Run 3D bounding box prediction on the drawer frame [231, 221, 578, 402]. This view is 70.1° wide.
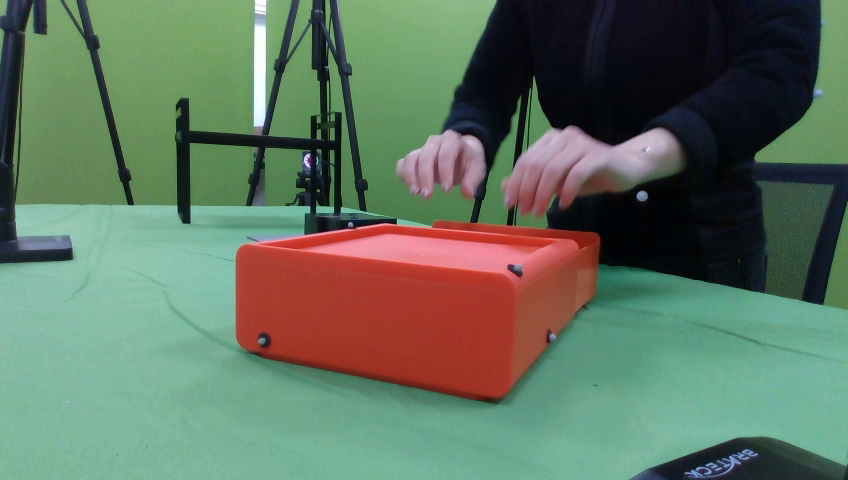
[{"bbox_3d":[0.001,0.038,0.474,0.201,0.082,0.214,6,9,22],"label":"drawer frame"}]

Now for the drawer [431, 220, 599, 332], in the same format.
[{"bbox_3d":[0.051,0.030,0.582,0.194,0.073,0.212,7,9,25],"label":"drawer"}]

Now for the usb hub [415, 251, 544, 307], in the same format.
[{"bbox_3d":[0.055,0.038,0.613,0.124,0.025,0.050,16,5,30],"label":"usb hub"}]
